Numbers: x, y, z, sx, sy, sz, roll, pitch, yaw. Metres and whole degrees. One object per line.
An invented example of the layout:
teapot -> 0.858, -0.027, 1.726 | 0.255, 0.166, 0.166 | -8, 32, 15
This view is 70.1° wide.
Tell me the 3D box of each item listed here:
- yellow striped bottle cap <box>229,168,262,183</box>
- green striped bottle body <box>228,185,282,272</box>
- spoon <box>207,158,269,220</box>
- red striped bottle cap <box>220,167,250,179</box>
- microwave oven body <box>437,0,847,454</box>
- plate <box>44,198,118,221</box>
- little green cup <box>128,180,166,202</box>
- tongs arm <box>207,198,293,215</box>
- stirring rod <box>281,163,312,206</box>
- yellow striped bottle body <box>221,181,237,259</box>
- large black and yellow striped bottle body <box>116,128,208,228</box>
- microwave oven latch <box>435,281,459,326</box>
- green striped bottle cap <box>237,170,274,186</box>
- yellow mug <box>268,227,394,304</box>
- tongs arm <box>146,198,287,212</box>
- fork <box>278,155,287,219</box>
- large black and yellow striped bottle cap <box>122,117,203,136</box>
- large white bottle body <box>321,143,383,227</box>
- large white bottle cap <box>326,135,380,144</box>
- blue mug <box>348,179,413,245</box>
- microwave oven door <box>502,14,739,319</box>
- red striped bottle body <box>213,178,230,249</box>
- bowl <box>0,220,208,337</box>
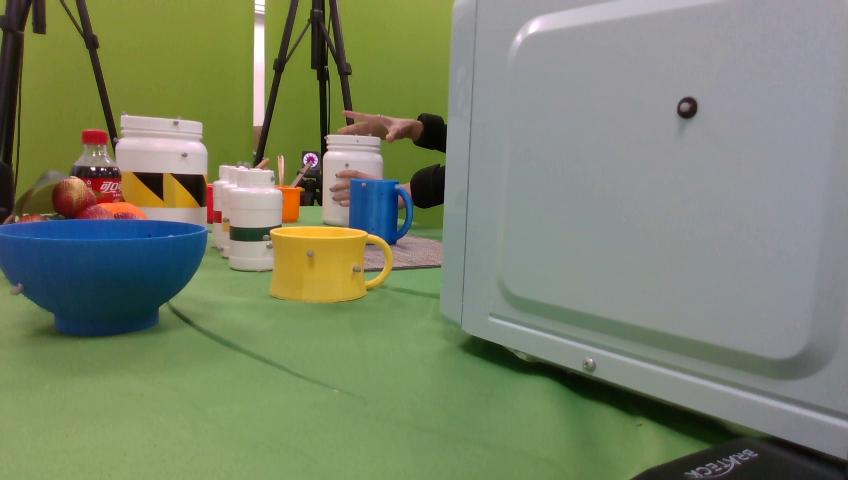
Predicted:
yellow striped bottle cap -> -0.240, -0.087, 0.816 | 0.044, 0.018, 0.044 | -3, 5, 1
green striped bottle body -> -0.208, -0.023, 0.745 | 0.063, 0.119, 0.063 | 2, 7, 0
spoon -> -0.380, -0.108, 1.251 | 0.041, 0.022, 0.194 | 5, 51, 38
red striped bottle cap -> -0.281, -0.100, 0.901 | 0.044, 0.017, 0.044 | -1, 4, 0
microwave oven body -> 0.279, -0.040, 0.464 | 0.444, 0.260, 0.324 | -3, 8, -41
plate -> -0.617, -0.056, 1.179 | 0.209, 0.038, 0.209 | 3, 7, 0
little green cup -> -0.485, -0.087, 1.062 | 0.061, 0.038, 0.061 | -1, 6, 0
tongs arm -> -0.424, -0.084, 1.473 | 0.050, 0.026, 0.386 | 1, 5, 21
stirring rod -> -0.292, -0.111, 1.324 | 0.014, 0.006, 0.176 | 2, 47, 29
yellow striped bottle body -> -0.244, -0.036, 0.824 | 0.063, 0.120, 0.063 | 2, 8, 0
large black and yellow striped bottle body -> -0.404, -0.089, 0.937 | 0.131, 0.184, 0.130 | 3, 7, 0
microwave oven latch -> 0.044, 0.046, 0.470 | 0.079, 0.029, 0.030 | -3, 8, -40
green striped bottle cap -> -0.205, -0.075, 0.737 | 0.044, 0.020, 0.044 | 1, 6, 0
yellow mug -> -0.094, 0.023, 0.630 | 0.131, 0.064, 0.099 | 0, 8, -22
tongs arm -> -0.505, -0.089, 1.513 | 0.028, 0.028, 0.389 | -2, 3, 37
fork -> -0.318, -0.120, 1.342 | 0.028, 0.018, 0.206 | -1, 52, -12
large black and yellow striped bottle cap -> -0.399, -0.174, 0.927 | 0.115, 0.019, 0.115 | 5, 9, -1
large white bottle body -> -0.154, -0.125, 1.300 | 0.131, 0.184, 0.130 | 2, 8, 0
large white bottle cap -> -0.150, -0.213, 1.288 | 0.115, 0.018, 0.115 | 2, 7, 0
blue mug -> -0.071, -0.047, 1.002 | 0.116, 0.106, 0.082 | 7, 9, 26
microwave oven door -> 0.217, -0.065, 0.601 | 0.358, 0.243, 0.039 | -4, 10, -41
red striped bottle body -> -0.284, -0.048, 0.909 | 0.063, 0.119, 0.063 | 3, 10, 0
bowl -> -0.251, 0.029, 0.479 | 0.151, 0.077, 0.151 | 2, 7, 0
